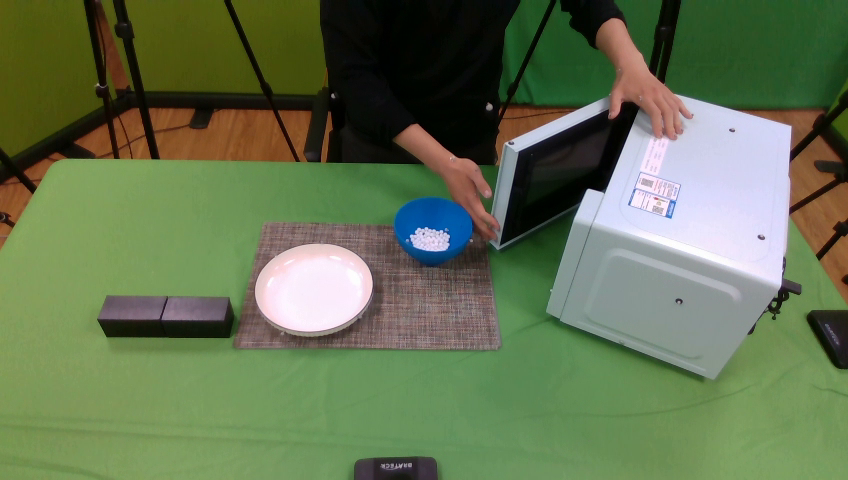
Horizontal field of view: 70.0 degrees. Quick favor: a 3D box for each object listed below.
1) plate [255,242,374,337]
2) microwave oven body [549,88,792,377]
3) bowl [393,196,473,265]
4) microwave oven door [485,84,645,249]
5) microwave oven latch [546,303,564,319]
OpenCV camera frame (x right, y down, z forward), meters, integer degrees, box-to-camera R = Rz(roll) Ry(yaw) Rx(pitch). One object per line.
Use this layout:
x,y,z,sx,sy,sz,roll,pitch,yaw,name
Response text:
-0.192,0.090,1.079,0.208,0.039,0.206,2,46,-2,plate
0.456,-0.028,1.088,0.325,0.261,0.440,20,47,16,microwave oven body
0.014,-0.006,1.159,0.151,0.077,0.150,2,46,-2,bowl
0.278,-0.147,1.183,0.356,0.245,0.039,-27,54,-27,microwave oven door
0.242,0.102,1.081,0.030,0.029,0.079,22,48,17,microwave oven latch
